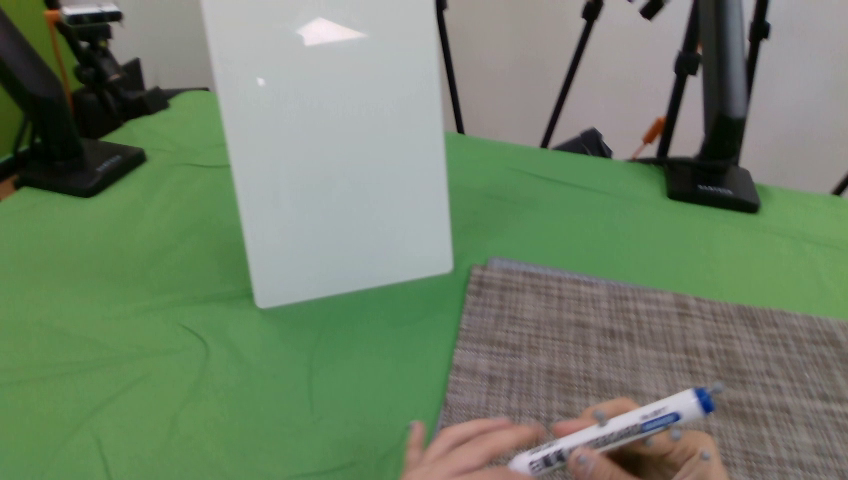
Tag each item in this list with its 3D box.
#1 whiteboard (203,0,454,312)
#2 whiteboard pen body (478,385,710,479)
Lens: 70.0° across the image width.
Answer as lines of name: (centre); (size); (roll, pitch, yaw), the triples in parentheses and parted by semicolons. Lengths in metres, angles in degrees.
whiteboard: (-0.101, -0.108, 0.657); (0.218, 0.307, 0.142); (-10, 18, -18)
whiteboard pen body: (0.088, 0.113, 0.336); (0.141, 0.017, 0.017); (-30, 28, 21)
